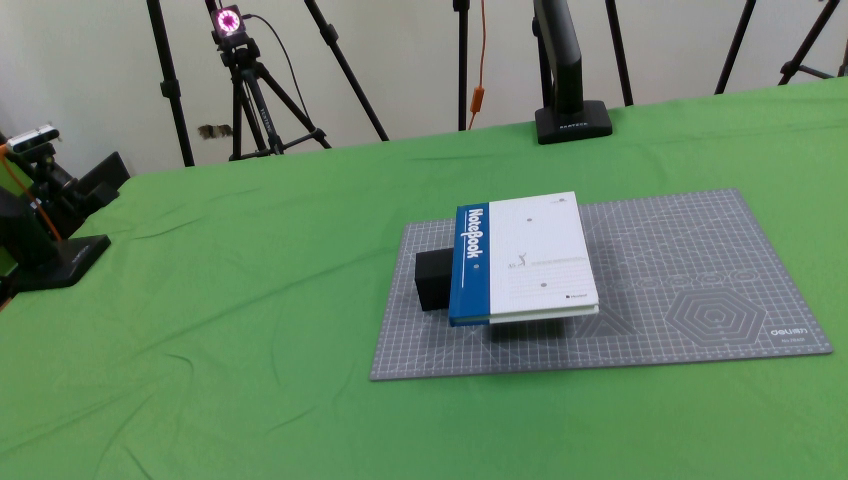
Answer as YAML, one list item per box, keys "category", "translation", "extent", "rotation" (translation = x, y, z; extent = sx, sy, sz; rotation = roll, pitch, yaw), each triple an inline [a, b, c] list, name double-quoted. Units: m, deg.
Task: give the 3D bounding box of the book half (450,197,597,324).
- category: "book half"
  translation: [0.104, 0.015, 0.671]
  extent: [0.143, 0.007, 0.208]
  rotation: [-7, 34, 10]

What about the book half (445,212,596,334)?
- category: "book half"
  translation: [0.102, 0.022, 0.676]
  extent: [0.148, 0.016, 0.208]
  rotation: [-7, 34, 11]
